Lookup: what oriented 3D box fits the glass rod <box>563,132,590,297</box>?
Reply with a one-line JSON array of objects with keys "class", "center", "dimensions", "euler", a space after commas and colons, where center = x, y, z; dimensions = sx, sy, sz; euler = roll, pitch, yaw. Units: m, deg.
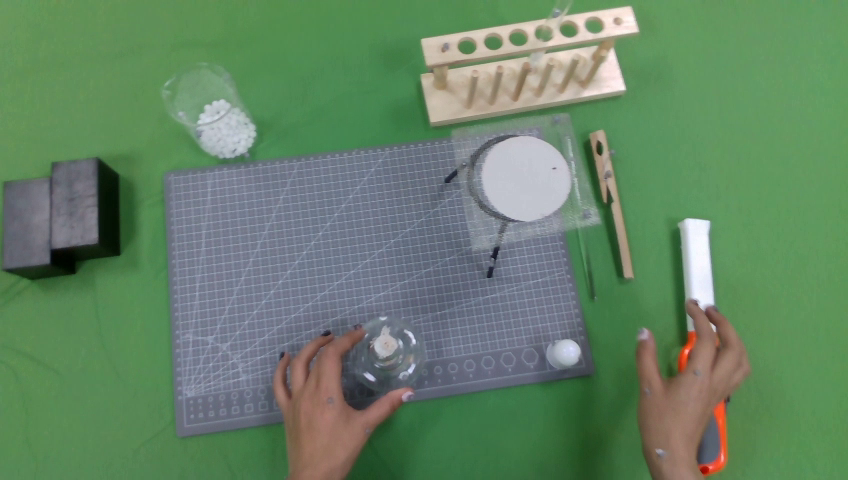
[{"class": "glass rod", "center": [0.178, -0.032, 0.708], "dimensions": [0.008, 0.008, 0.199], "euler": [-5, 79, -3]}]

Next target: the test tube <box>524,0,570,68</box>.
[{"class": "test tube", "center": [0.137, -0.235, 0.668], "dimensions": [0.017, 0.151, 0.017], "euler": [2, 73, -7]}]

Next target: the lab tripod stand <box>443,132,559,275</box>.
[{"class": "lab tripod stand", "center": [0.080, -0.047, 0.641], "dimensions": [0.148, 0.132, 0.147], "euler": [0, 76, 1]}]

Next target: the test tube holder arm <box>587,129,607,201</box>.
[{"class": "test tube holder arm", "center": [0.208, -0.089, 0.719], "dimensions": [0.010, 0.015, 0.087], "euler": [-16, 75, 29]}]

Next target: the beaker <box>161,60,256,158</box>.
[{"class": "beaker", "center": [-0.236, -0.142, 0.677], "dimensions": [0.084, 0.101, 0.073], "euler": [10, 75, 2]}]

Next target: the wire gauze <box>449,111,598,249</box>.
[{"class": "wire gauze", "center": [0.092, -0.061, 0.575], "dimensions": [0.121, 0.011, 0.124], "euler": [-10, 75, -3]}]

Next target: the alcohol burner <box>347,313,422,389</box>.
[{"class": "alcohol burner", "center": [-0.041, 0.109, 0.607], "dimensions": [0.078, 0.120, 0.077], "euler": [0, 73, 0]}]

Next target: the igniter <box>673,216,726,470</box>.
[{"class": "igniter", "center": [0.299, 0.107, 0.665], "dimensions": [0.057, 0.025, 0.275], "euler": [5, 75, -10]}]

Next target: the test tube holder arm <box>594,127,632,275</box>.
[{"class": "test tube holder arm", "center": [0.220, -0.047, 0.706], "dimensions": [0.013, 0.015, 0.177], "euler": [-16, 75, 29]}]

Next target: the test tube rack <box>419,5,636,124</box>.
[{"class": "test tube rack", "center": [0.119, -0.204, 0.711], "dimensions": [0.242, 0.085, 0.066], "euler": [-10, 75, -4]}]

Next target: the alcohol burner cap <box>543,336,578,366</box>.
[{"class": "alcohol burner cap", "center": [0.148, 0.117, 0.648], "dimensions": [0.034, 0.048, 0.033], "euler": [1, 75, -2]}]
